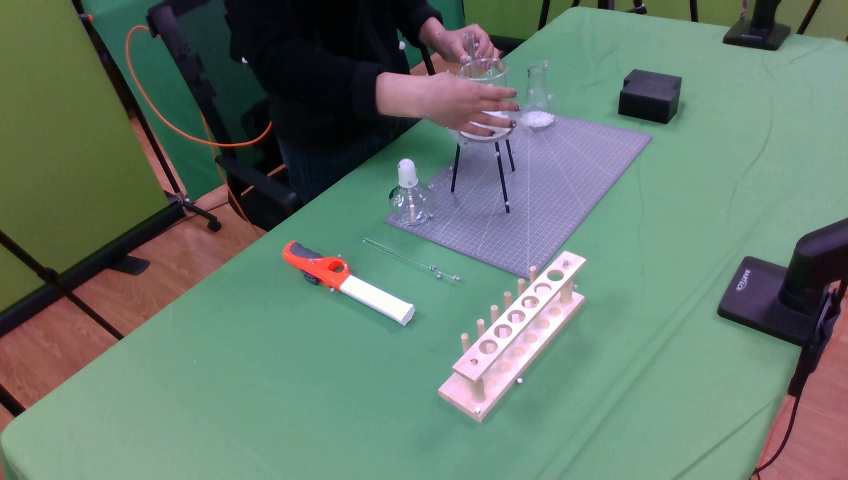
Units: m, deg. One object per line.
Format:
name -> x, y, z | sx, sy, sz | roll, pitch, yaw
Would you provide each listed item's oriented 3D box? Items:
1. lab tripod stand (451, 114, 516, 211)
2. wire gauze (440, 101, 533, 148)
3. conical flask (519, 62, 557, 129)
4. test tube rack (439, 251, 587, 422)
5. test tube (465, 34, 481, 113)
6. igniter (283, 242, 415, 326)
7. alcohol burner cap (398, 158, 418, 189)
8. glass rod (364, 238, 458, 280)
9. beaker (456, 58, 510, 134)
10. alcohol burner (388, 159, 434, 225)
lab tripod stand -> 0.113, -0.140, 1.037 | 0.148, 0.132, 0.147 | -6, 38, 5
wire gauze -> 0.100, -0.189, 0.994 | 0.125, 0.011, 0.120 | -16, 38, -6
conical flask -> 0.225, -0.288, 1.198 | 0.075, 0.122, 0.075 | -6, 40, 5
test tube rack -> 0.118, 0.111, 0.780 | 0.066, 0.085, 0.243 | 26, 51, 35
test tube -> 0.088, -0.293, 1.078 | 0.017, 0.151, 0.017 | -6, 43, 6
igniter -> -0.126, 0.062, 0.931 | 0.274, 0.025, 0.057 | 23, 60, 33
alcohol burner cap -> -0.028, -0.111, 0.989 | 0.034, 0.048, 0.033 | -3, 47, 4
glass rod -> -0.026, 0.029, 0.966 | 0.198, 0.008, 0.008 | 21, 49, 35
beaker -> 0.098, -0.226, 0.964 | 0.084, 0.101, 0.073 | -7, 39, 4
alcohol burner -> -0.023, -0.085, 1.013 | 0.078, 0.119, 0.077 | -4, 38, 4
